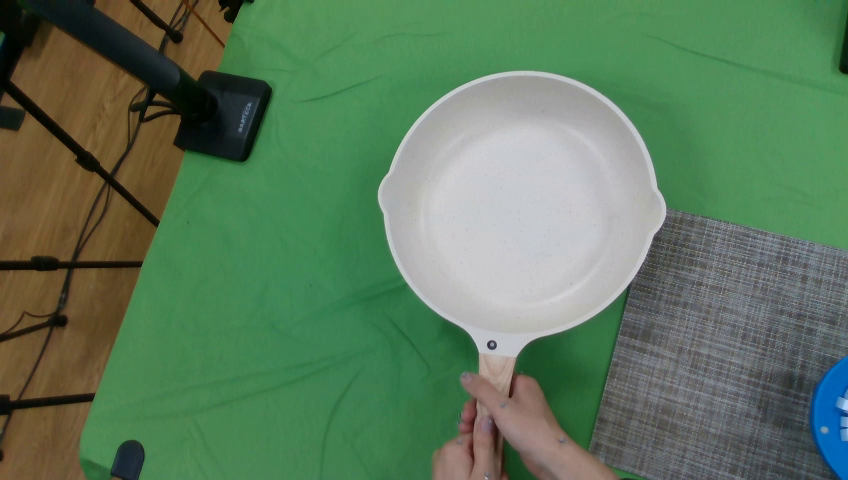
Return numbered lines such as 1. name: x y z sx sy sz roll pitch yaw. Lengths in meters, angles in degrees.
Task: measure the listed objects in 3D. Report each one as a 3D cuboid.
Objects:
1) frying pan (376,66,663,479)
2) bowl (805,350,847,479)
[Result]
1. frying pan: 0.084 0.057 0.652 0.306 0.103 0.485 6 77 15
2. bowl: 0.444 0.176 0.589 0.151 0.077 0.150 -3 76 12
